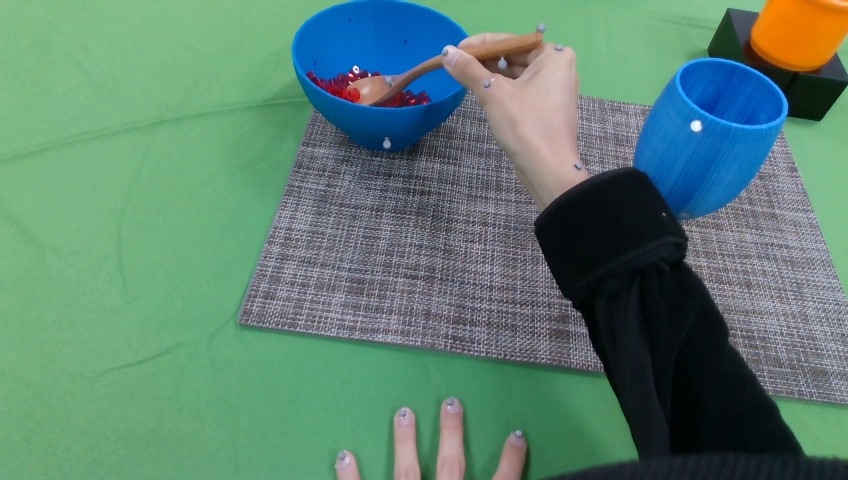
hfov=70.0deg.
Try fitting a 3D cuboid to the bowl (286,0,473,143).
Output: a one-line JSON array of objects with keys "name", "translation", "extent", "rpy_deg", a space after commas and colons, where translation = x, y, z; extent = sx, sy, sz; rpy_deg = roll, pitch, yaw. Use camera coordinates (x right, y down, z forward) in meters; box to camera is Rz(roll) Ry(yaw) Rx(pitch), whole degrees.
[{"name": "bowl", "translation": [-0.038, -0.137, 0.519], "extent": [0.151, 0.077, 0.150], "rpy_deg": [3, 52, -3]}]

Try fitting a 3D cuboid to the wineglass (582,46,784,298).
[{"name": "wineglass", "translation": [0.160, -0.035, 0.400], "extent": [0.074, 0.173, 0.073], "rpy_deg": [3, 52, -3]}]

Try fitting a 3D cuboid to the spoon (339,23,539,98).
[{"name": "spoon", "translation": [0.002, -0.132, 0.452], "extent": [0.192, 0.022, 0.041], "rpy_deg": [-5, 43, 47]}]
